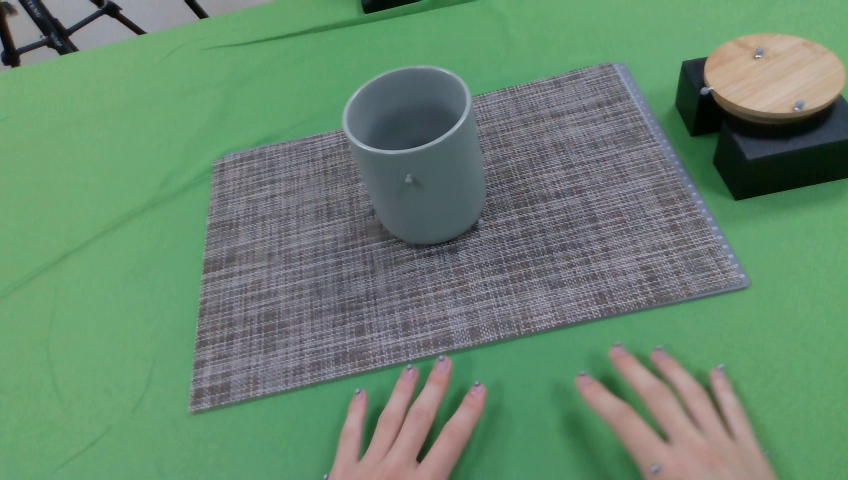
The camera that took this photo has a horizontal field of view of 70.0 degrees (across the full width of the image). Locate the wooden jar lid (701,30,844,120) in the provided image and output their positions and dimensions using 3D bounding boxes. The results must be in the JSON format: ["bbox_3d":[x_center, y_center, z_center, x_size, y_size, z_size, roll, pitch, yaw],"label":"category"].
[{"bbox_3d":[0.295,-0.141,0.520,0.108,0.021,0.107,-6,53,9],"label":"wooden jar lid"}]

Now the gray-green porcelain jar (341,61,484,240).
[{"bbox_3d":[-0.004,-0.070,0.523,0.106,0.128,0.105,-6,52,8],"label":"gray-green porcelain jar"}]
